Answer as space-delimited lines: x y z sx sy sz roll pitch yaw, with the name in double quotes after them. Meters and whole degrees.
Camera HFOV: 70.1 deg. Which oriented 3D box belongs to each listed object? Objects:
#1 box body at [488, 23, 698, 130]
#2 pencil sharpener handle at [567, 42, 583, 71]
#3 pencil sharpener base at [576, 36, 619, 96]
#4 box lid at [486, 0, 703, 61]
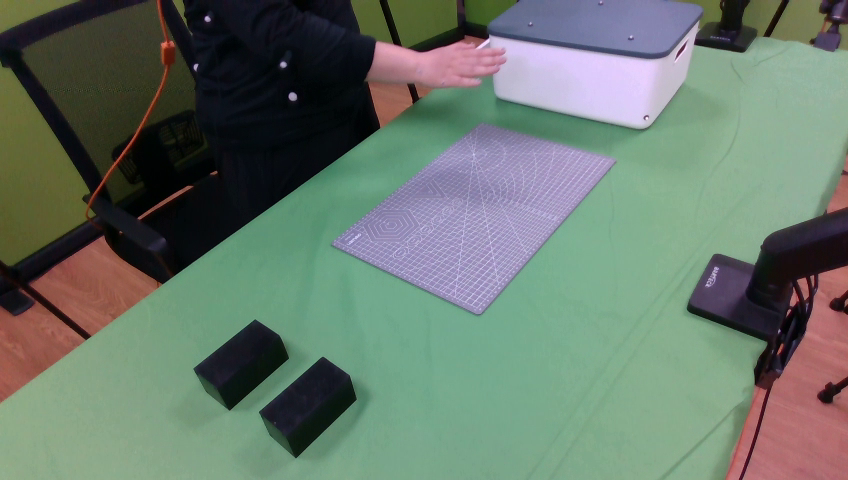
0.345 -0.379 1.257 0.361 0.161 0.255 20 48 29 "box body"
0.319 -0.391 1.290 0.030 0.068 0.036 17 56 29 "pencil sharpener handle"
0.362 -0.367 1.272 0.076 0.107 0.061 17 47 29 "pencil sharpener base"
0.338 -0.435 1.208 0.369 0.015 0.264 20 47 29 "box lid"
